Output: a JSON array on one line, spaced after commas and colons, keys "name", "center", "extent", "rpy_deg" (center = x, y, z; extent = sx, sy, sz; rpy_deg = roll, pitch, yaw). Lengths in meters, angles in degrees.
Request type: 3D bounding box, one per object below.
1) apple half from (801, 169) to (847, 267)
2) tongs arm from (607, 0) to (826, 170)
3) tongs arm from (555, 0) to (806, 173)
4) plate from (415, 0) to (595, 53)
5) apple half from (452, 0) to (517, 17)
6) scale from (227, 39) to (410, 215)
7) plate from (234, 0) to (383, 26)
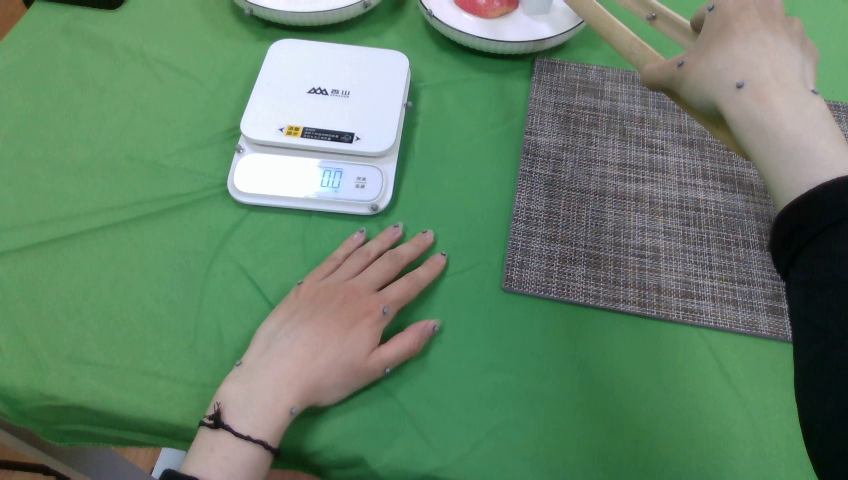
[{"name": "apple half", "center": [0.350, -0.012, 0.504], "extent": [0.053, 0.075, 0.080], "rpy_deg": [-24, 63, -12]}, {"name": "tongs arm", "center": [0.203, -0.183, 0.537], "extent": [0.051, 0.027, 0.380], "rpy_deg": [-20, 46, -12]}, {"name": "tongs arm", "center": [0.180, -0.176, 0.534], "extent": [0.028, 0.028, 0.383], "rpy_deg": [-15, 46, -11]}, {"name": "plate", "center": [0.091, -0.281, 0.700], "extent": [0.209, 0.038, 0.207], "rpy_deg": [1, 56, -1]}, {"name": "apple half", "center": [0.072, -0.294, 0.702], "extent": [0.081, 0.033, 0.080], "rpy_deg": [0, 53, 1]}, {"name": "scale", "center": [-0.096, -0.115, 0.584], "extent": [0.148, 0.032, 0.199], "rpy_deg": [6, 56, 2]}, {"name": "plate", "center": [-0.132, -0.315, 0.715], "extent": [0.208, 0.039, 0.205], "rpy_deg": [1, 56, -1]}]
